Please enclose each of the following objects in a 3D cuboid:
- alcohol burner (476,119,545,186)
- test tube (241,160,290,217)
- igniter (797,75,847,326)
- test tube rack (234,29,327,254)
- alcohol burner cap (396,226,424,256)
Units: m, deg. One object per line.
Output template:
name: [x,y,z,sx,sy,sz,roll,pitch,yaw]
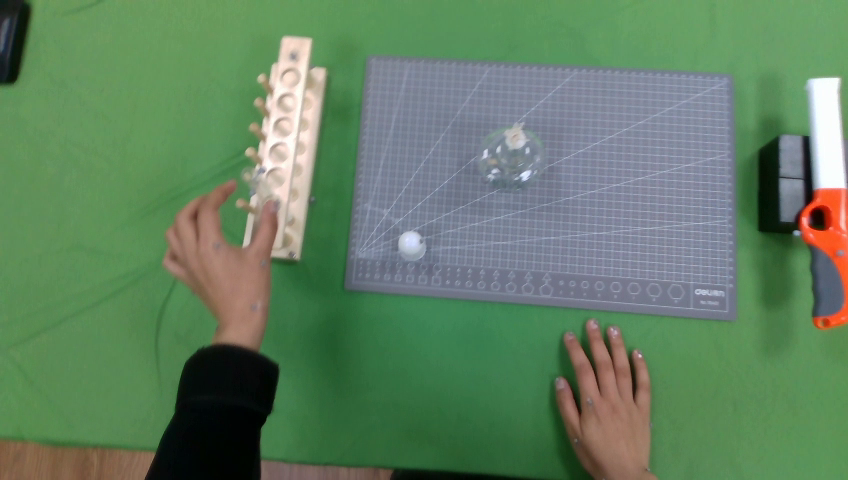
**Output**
alcohol burner: [0.097,-0.102,0.672,0.078,0.119,0.077,0,81,3]
test tube: [-0.165,-0.050,0.639,0.017,0.151,0.017,0,76,0]
igniter: [0.432,-0.046,0.651,0.057,0.025,0.275,2,80,14]
test tube rack: [-0.170,-0.111,0.699,0.067,0.085,0.241,7,81,4]
alcohol burner cap: [-0.017,-0.001,0.695,0.034,0.048,0.033,0,81,2]
